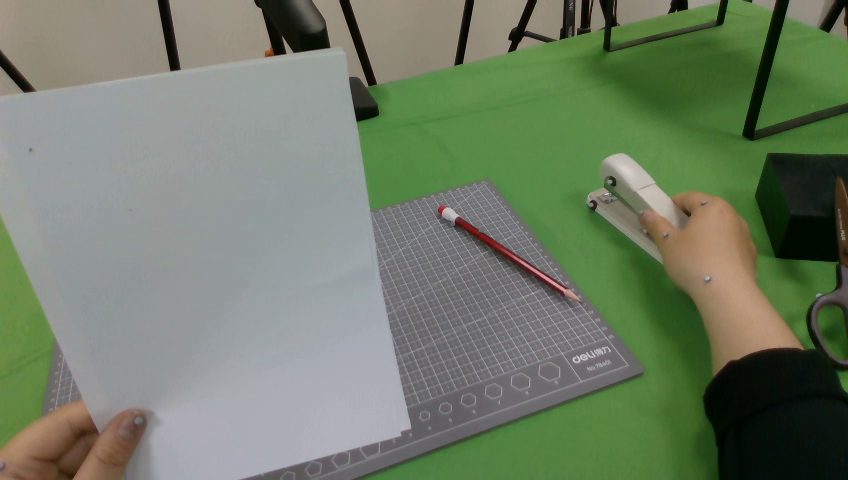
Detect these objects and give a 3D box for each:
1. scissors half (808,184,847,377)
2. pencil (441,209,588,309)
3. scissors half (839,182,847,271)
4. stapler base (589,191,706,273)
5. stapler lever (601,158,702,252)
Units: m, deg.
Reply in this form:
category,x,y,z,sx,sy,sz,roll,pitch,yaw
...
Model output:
category,x,y,z,sx,sy,sz,roll,pitch,yaw
scissors half,0.335,0.025,0.484,0.040,0.013,0.174,9,63,27
pencil,0.079,0.015,0.574,0.012,0.012,0.192,-30,45,-26
scissors half,0.354,0.026,0.477,0.040,0.013,0.173,-5,59,14
stapler base,0.214,-0.018,0.590,0.041,0.025,0.129,-22,43,-15
stapler lever,0.212,-0.037,0.572,0.027,0.040,0.116,-23,43,-15
